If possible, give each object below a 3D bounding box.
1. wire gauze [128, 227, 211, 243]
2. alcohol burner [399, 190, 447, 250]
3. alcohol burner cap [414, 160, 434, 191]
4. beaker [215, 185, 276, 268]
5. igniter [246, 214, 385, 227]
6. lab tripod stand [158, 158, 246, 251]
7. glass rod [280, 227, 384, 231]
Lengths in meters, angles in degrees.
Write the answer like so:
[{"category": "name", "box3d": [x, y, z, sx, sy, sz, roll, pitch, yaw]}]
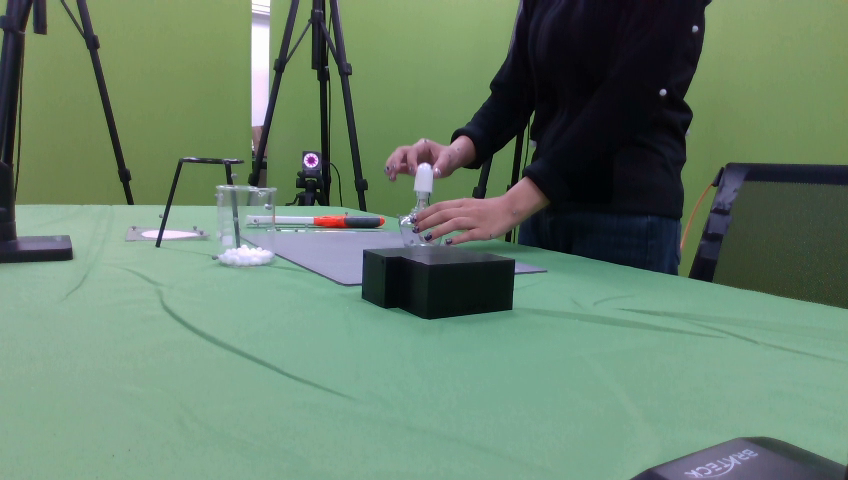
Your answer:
[{"category": "wire gauze", "box3d": [-0.420, -0.010, 0.999, 0.122, 0.011, 0.124, -2, 10, -24]}, {"category": "alcohol burner", "box3d": [-0.002, -0.044, 0.961, 0.078, 0.119, 0.078, 0, 8, 0]}, {"category": "alcohol burner cap", "box3d": [0.002, -0.102, 0.958, 0.034, 0.048, 0.034, 6, 4, 0]}, {"category": "beaker", "box3d": [-0.226, -0.019, 0.773, 0.074, 0.100, 0.084, 5, 7, 14]}, {"category": "igniter", "box3d": [-0.214, -0.040, 1.216, 0.278, 0.025, 0.057, 0, -2, -22]}, {"category": "lab tripod stand", "box3d": [-0.314, -0.055, 0.891, 0.148, 0.131, 0.148, 2, 9, 0]}, {"category": "glass rod", "box3d": [-0.175, -0.021, 1.161, 0.200, 0.008, 0.008, 1, 7, -15]}]
